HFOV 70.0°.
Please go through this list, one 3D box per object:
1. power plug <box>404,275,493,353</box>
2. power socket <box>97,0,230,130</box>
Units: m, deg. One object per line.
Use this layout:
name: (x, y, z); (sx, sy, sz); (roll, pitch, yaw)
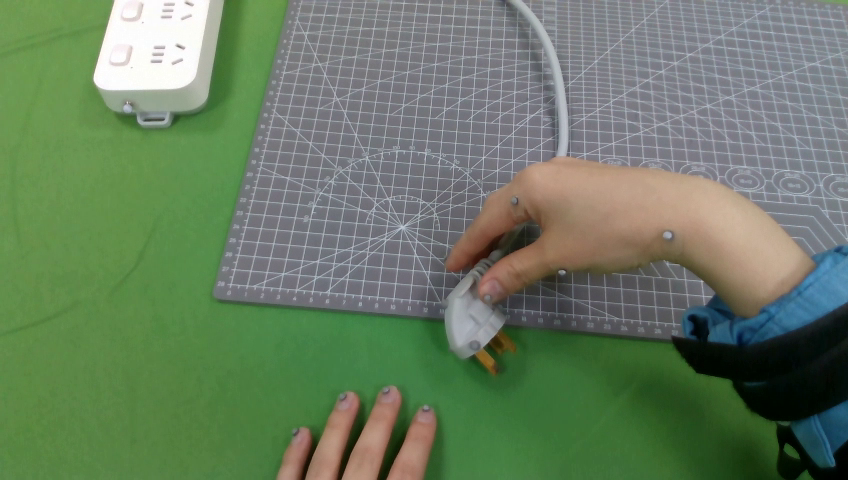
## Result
power plug: (0.014, 0.033, 0.342); (0.035, 0.073, 0.052); (-32, 25, -6)
power socket: (-0.188, -0.184, 0.461); (0.072, 0.033, 0.225); (0, 63, -2)
